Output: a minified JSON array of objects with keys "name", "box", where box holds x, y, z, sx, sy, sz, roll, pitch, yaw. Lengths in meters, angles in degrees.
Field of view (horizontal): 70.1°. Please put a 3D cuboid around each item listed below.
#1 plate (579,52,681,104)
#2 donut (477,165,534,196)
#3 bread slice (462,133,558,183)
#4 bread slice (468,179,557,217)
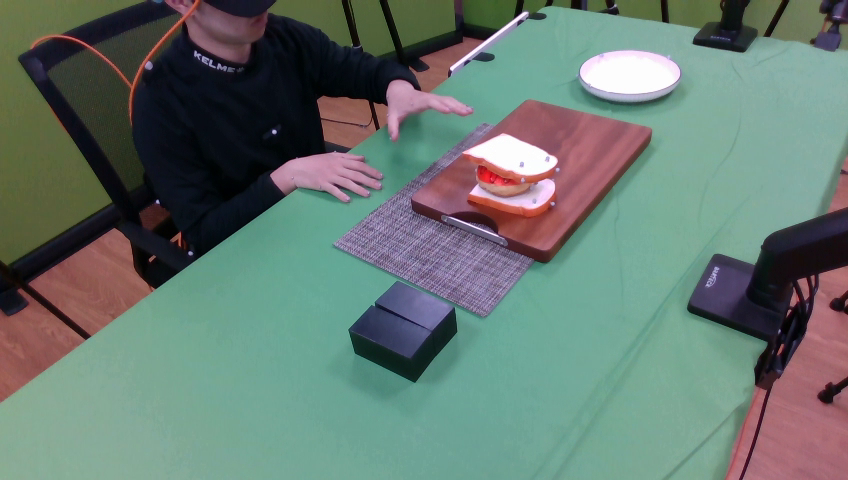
[{"name":"plate","box":[0.437,-0.343,1.294,0.209,0.038,0.208,-4,40,4]},{"name":"donut","box":[0.136,-0.109,0.991,0.099,0.048,0.098,-4,39,3]},{"name":"bread slice","box":[0.146,-0.131,0.971,0.133,0.018,0.107,29,43,32]},{"name":"bread slice","box":[0.154,-0.083,1.004,0.130,0.019,0.105,19,48,29]}]
